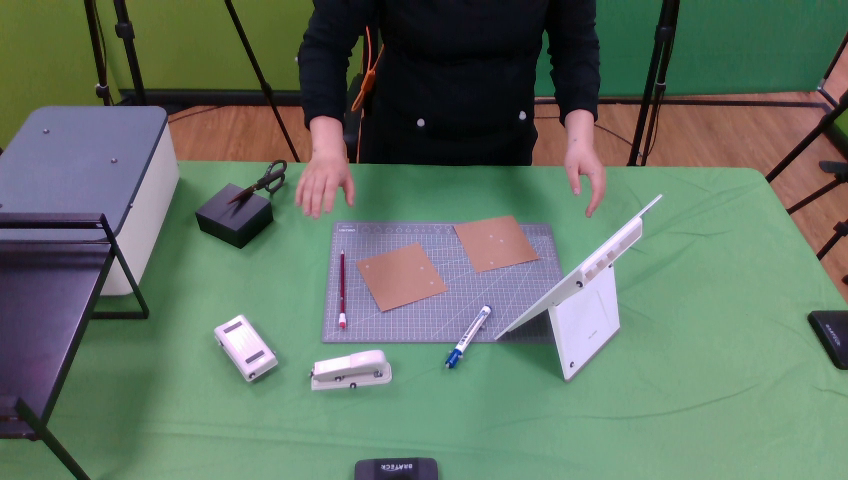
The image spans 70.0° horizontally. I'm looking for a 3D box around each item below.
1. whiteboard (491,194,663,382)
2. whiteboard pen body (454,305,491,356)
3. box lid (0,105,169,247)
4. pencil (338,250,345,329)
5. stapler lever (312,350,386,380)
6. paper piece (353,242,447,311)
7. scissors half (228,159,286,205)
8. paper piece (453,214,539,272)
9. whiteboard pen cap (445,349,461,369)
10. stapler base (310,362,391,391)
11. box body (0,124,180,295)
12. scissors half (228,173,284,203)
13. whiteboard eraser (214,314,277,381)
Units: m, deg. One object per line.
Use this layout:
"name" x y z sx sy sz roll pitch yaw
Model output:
"whiteboard" 0.280 0.100 0.969 0.217 0.306 0.143 -33 77 -31
"whiteboard pen body" 0.079 0.163 1.047 0.017 0.017 0.140 25 50 19
"box lid" -0.624 -0.125 1.067 0.263 0.015 0.369 0 46 -3
"pencil" -0.152 0.085 1.108 0.012 0.012 0.192 -2 44 -6
"stapler lever" -0.120 0.198 0.963 0.118 0.040 0.026 -5 44 -8
"paper piece" -0.045 0.066 1.137 0.136 0.009 0.137 -14 47 -22
"scissors half" -0.334 -0.116 1.217 0.013 0.040 0.175 30 47 9
"paper piece" 0.142 0.003 1.212 0.135 0.004 0.135 -11 47 -14
"whiteboard pen cap" 0.049 0.197 1.011 0.018 0.018 0.033 23 49 17
"stapler base" -0.120 0.215 0.981 0.131 0.024 0.041 -5 44 -7
"box body" -0.628 -0.075 1.122 0.254 0.161 0.361 1 46 -4
"scissors half" -0.340 -0.101 1.229 0.013 0.040 0.175 26 29 13
"whiteboard eraser" -0.292 0.176 0.990 0.055 0.042 0.112 -30 55 -30
